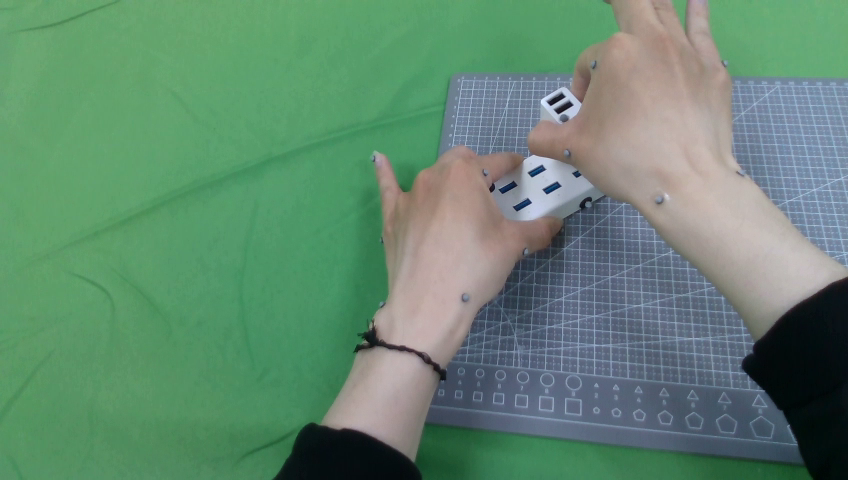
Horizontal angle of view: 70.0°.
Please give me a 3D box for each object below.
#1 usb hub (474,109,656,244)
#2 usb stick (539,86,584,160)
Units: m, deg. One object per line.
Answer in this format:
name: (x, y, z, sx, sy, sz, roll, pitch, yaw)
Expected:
usb hub: (0.101, -0.048, 0.437, 0.125, 0.025, 0.049, -29, 53, -9)
usb stick: (0.095, -0.076, 0.420, 0.021, 0.060, 0.027, -33, 59, -4)
